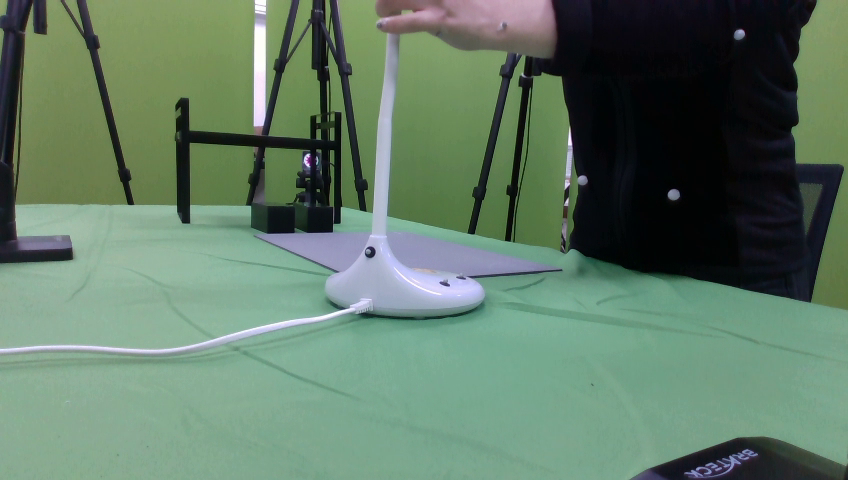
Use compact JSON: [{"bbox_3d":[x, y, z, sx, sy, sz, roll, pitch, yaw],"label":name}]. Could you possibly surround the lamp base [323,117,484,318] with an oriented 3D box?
[{"bbox_3d":[-0.020,-0.025,0.583,0.160,0.180,0.179,5,10,16],"label":"lamp base"}]
